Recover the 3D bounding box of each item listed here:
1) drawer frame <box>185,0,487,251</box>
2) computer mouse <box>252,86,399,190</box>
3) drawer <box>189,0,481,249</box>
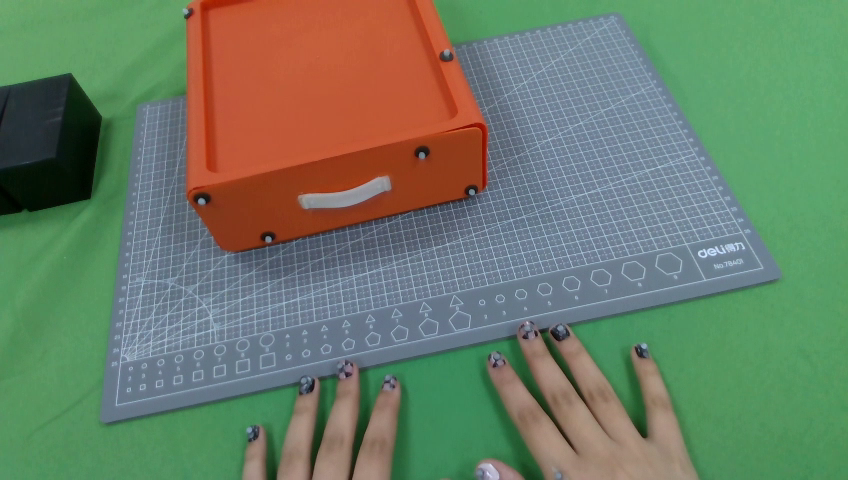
[{"bbox_3d":[-0.076,-0.114,0.475,0.202,0.083,0.211,-15,55,-4],"label":"drawer frame"},{"bbox_3d":[-0.078,-0.081,0.469,0.117,0.041,0.062,-15,59,3],"label":"computer mouse"},{"bbox_3d":[-0.075,-0.111,0.474,0.194,0.074,0.209,-14,55,-3],"label":"drawer"}]
